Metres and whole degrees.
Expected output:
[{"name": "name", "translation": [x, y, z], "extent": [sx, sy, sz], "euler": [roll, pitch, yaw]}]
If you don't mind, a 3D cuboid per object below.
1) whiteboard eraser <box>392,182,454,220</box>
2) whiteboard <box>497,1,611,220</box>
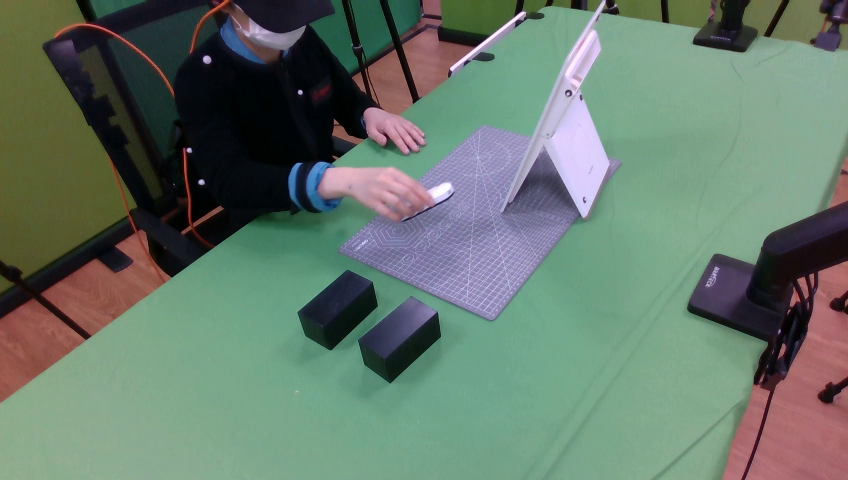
[{"name": "whiteboard eraser", "translation": [-0.002, -0.061, 0.941], "extent": [0.101, 0.019, 0.041], "euler": [-25, 25, 8]}, {"name": "whiteboard", "translation": [0.259, -0.177, 0.963], "extent": [0.143, 0.306, 0.217], "euler": [28, 48, 9]}]
